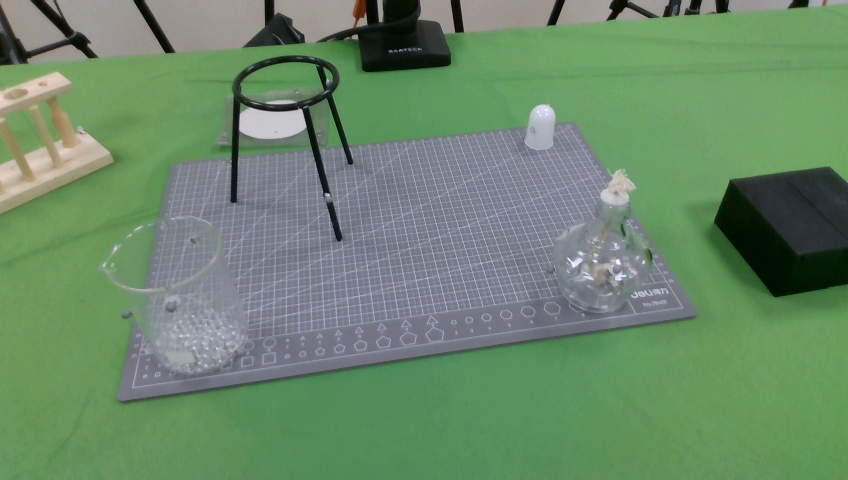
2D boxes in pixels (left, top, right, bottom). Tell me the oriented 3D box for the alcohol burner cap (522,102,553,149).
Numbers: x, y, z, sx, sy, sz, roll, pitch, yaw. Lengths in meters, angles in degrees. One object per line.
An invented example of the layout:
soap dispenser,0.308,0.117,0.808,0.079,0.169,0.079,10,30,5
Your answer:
alcohol burner cap,0.124,-0.127,0.660,0.034,0.048,0.033,0,43,1

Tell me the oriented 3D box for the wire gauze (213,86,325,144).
wire gauze,-0.180,-0.146,0.715,0.125,0.011,0.120,-5,42,-3

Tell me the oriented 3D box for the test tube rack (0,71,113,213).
test tube rack,-0.443,-0.070,0.579,0.066,0.086,0.242,33,53,31

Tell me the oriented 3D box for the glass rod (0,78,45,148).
glass rod,-0.416,-0.164,0.582,0.008,0.202,0.008,-6,45,7

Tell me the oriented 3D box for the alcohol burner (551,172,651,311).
alcohol burner,0.141,-0.002,0.473,0.078,0.120,0.077,-1,41,1

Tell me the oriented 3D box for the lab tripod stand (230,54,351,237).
lab tripod stand,-0.120,-0.089,0.556,0.148,0.133,0.147,-1,45,1

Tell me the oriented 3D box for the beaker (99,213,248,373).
beaker,-0.176,0.043,0.441,0.084,0.101,0.073,-9,44,-7
